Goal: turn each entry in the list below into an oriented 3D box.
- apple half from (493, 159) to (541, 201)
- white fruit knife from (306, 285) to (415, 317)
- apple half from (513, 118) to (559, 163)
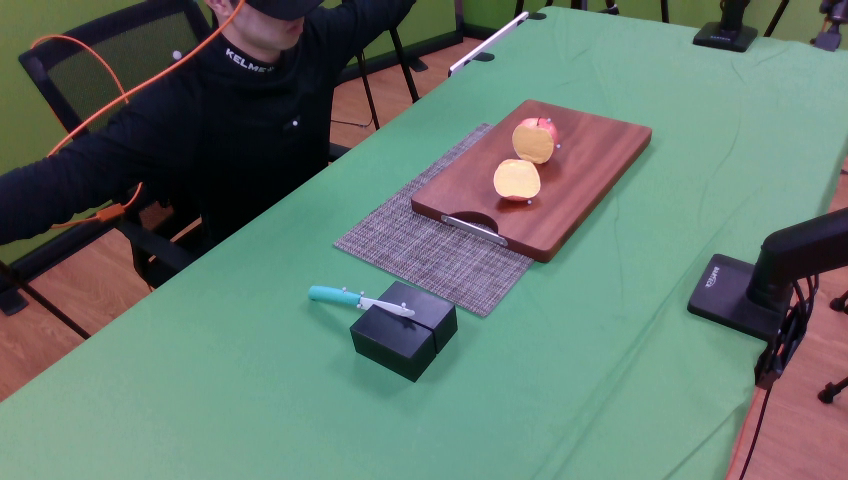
[{"bbox_3d":[0.153,-0.095,0.999,0.081,0.033,0.081,-1,64,2],"label":"apple half"},{"bbox_3d":[-0.092,0.085,0.837,0.206,0.027,0.016,6,37,36],"label":"white fruit knife"},{"bbox_3d":[0.202,-0.179,1.066,0.080,0.075,0.053,14,41,29],"label":"apple half"}]
